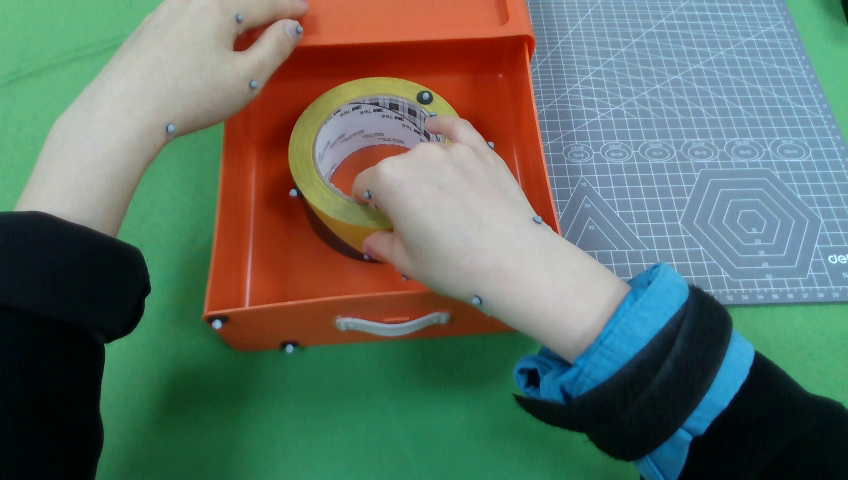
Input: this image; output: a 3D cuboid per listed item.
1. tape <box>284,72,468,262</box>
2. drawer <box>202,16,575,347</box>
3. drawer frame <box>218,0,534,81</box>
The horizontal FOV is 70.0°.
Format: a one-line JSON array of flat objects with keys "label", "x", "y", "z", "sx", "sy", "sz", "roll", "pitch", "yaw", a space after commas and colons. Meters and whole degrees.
[{"label": "tape", "x": -0.027, "y": -0.047, "z": 0.390, "sx": 0.117, "sy": 0.053, "sz": 0.116, "roll": 1, "pitch": 65, "yaw": -1}, {"label": "drawer", "x": -0.024, "y": -0.045, "z": 0.381, "sx": 0.194, "sy": 0.074, "sz": 0.210, "roll": -4, "pitch": 64, "yaw": -2}, {"label": "drawer frame", "x": -0.038, "y": -0.197, "z": 0.455, "sx": 0.202, "sy": 0.083, "sz": 0.211, "roll": -5, "pitch": 62, "yaw": -3}]
